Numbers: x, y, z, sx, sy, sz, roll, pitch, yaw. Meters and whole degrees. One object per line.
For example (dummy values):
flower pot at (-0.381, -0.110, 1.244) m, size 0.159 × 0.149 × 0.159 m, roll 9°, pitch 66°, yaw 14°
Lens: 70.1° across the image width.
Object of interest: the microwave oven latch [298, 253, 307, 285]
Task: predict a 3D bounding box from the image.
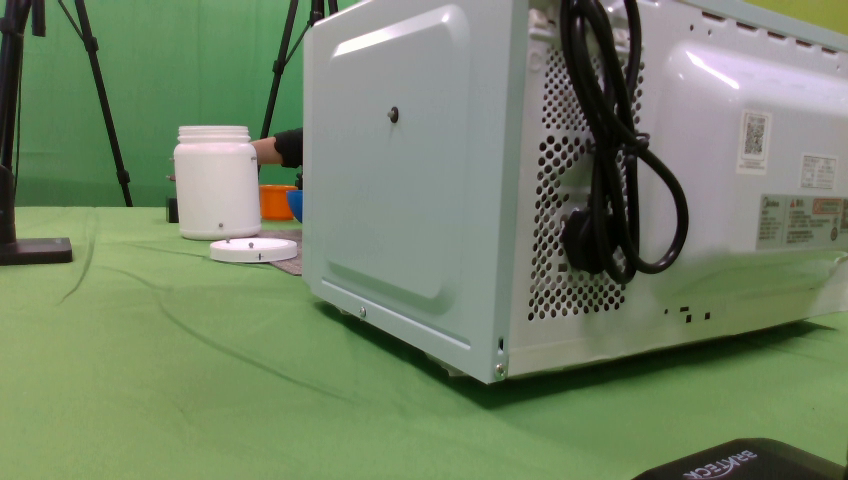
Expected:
microwave oven latch at (-0.081, 0.027, 0.582) m, size 0.079 × 0.029 × 0.030 m, roll -2°, pitch 7°, yaw -33°

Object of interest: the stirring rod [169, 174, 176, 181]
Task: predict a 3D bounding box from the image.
stirring rod at (-0.457, -0.126, 1.279) m, size 0.006 × 0.014 × 0.177 m, roll -32°, pitch -17°, yaw 30°

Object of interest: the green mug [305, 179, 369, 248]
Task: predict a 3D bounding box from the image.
green mug at (-0.133, -0.044, 0.977) m, size 0.092 × 0.105 × 0.126 m, roll 6°, pitch 8°, yaw 32°

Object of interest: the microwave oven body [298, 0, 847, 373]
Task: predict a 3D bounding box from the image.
microwave oven body at (0.151, -0.055, 0.542) m, size 0.444 × 0.260 × 0.324 m, roll -2°, pitch 7°, yaw -33°

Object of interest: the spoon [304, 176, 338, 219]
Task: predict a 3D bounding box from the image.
spoon at (-0.201, -0.084, 1.146) m, size 0.042 × 0.021 × 0.193 m, roll 2°, pitch 30°, yaw -25°

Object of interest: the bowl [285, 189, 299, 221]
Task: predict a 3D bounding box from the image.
bowl at (-0.180, -0.050, 1.113) m, size 0.151 × 0.077 × 0.151 m, roll 3°, pitch 8°, yaw 0°

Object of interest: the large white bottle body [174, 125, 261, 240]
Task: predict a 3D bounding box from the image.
large white bottle body at (-0.349, -0.099, 1.025) m, size 0.131 × 0.184 × 0.130 m, roll -1°, pitch 9°, yaw 0°

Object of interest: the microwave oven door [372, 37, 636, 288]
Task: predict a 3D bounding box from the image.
microwave oven door at (0.109, -0.080, 0.686) m, size 0.358 × 0.243 × 0.039 m, roll -2°, pitch 9°, yaw -33°

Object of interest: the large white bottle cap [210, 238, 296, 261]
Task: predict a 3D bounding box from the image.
large white bottle cap at (-0.236, 0.012, 0.839) m, size 0.115 × 0.018 × 0.115 m, roll 1°, pitch 7°, yaw 0°
